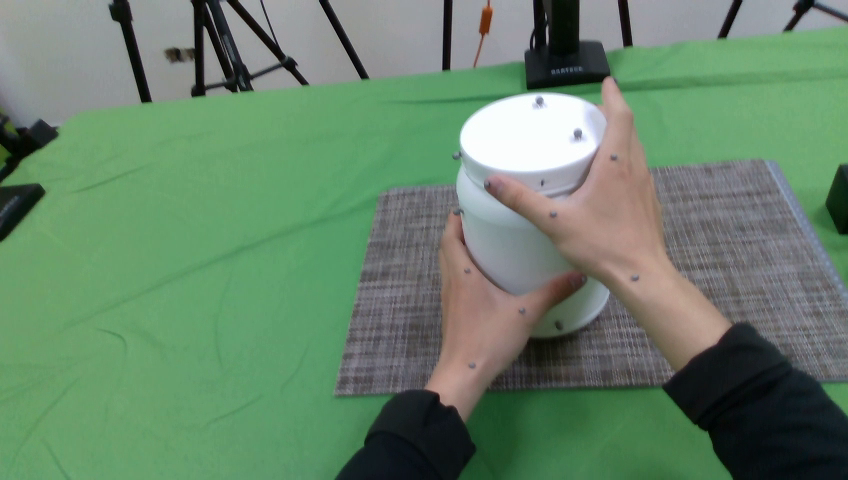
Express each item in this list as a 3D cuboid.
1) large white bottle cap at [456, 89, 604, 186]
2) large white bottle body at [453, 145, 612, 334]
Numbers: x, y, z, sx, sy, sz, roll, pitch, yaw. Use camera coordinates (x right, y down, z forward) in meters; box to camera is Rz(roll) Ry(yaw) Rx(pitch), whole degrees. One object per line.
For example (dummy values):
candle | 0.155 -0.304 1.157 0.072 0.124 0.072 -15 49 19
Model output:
large white bottle cap | 0.082 -0.083 0.474 0.115 0.018 0.113 -7 42 6
large white bottle body | 0.096 -0.021 0.531 0.130 0.186 0.129 -7 42 7
